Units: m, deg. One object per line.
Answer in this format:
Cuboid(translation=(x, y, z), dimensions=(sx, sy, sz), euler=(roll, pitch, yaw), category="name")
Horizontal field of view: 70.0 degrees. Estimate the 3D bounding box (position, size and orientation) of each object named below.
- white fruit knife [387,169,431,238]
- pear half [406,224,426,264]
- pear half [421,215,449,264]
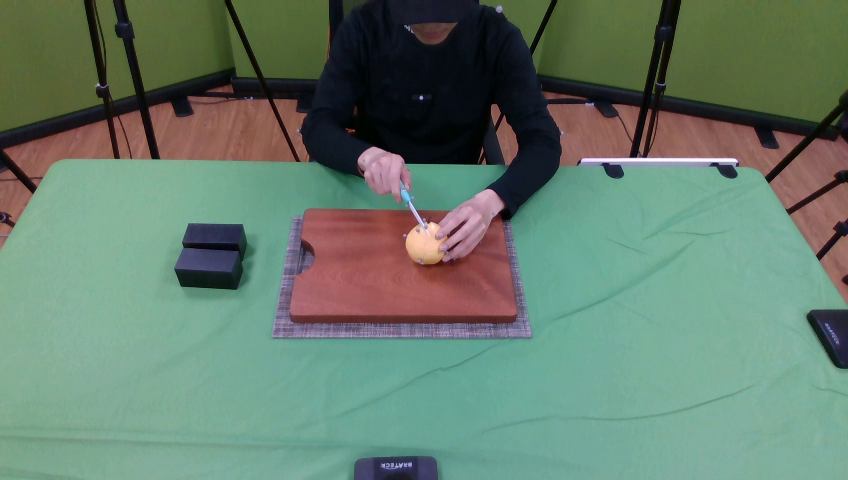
Cuboid(translation=(-0.026, -0.068, 1.075), dimensions=(0.016, 0.027, 0.206), euler=(-23, 45, -9), category="white fruit knife")
Cuboid(translation=(-0.017, 0.005, 1.102), dimensions=(0.031, 0.088, 0.070), euler=(-8, 54, -12), category="pear half")
Cuboid(translation=(0.019, -0.006, 1.101), dimensions=(0.056, 0.110, 0.076), euler=(-9, 52, -13), category="pear half")
